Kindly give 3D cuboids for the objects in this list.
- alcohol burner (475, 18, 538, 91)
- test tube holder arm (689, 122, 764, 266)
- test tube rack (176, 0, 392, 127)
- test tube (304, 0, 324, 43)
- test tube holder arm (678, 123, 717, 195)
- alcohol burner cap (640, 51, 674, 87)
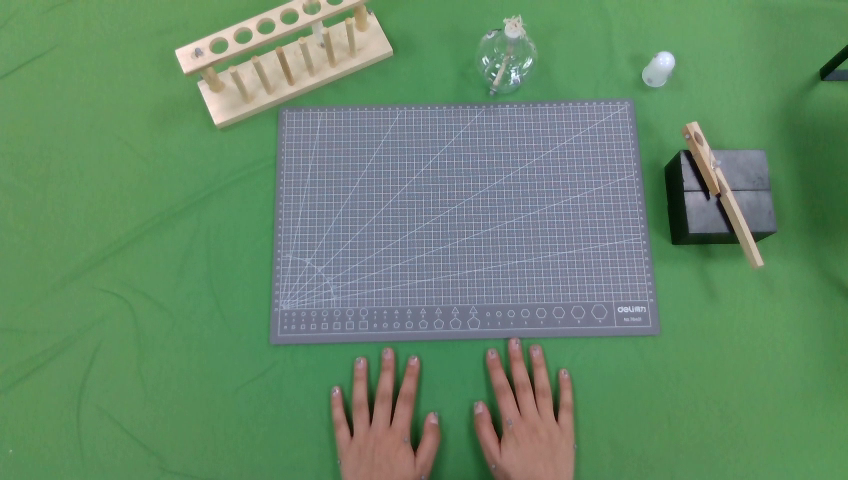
[{"bbox_3d":[0.101,-0.231,0.729,0.078,0.119,0.077,0,77,0],"label":"alcohol burner"},{"bbox_3d":[0.338,-0.054,0.685,0.013,0.015,0.177,-21,78,-7],"label":"test tube holder arm"},{"bbox_3d":[-0.164,-0.232,0.744,0.242,0.085,0.066,-25,77,-6],"label":"test tube rack"},{"bbox_3d":[-0.133,-0.281,0.705,0.017,0.151,0.017,0,70,1],"label":"test tube"},{"bbox_3d":[0.316,-0.093,0.693,0.010,0.015,0.087,-20,78,-7],"label":"test tube holder arm"},{"bbox_3d":[0.295,-0.217,0.762,0.034,0.048,0.033,0,75,2],"label":"alcohol burner cap"}]
